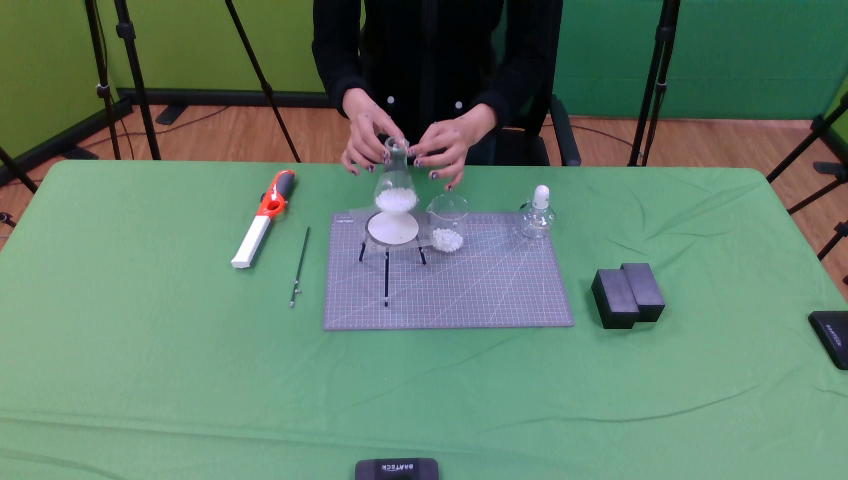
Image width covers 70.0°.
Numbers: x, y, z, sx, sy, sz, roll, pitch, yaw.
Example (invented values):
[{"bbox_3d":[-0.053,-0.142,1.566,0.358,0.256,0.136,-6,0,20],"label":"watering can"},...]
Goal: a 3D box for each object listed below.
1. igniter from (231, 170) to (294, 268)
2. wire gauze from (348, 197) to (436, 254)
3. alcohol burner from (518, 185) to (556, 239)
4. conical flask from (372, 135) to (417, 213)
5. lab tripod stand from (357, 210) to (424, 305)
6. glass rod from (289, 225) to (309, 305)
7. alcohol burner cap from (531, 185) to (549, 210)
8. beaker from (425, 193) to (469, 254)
[{"bbox_3d":[-0.321,-0.051,1.220,0.057,0.025,0.275,2,45,11],"label":"igniter"},{"bbox_3d":[-0.056,-0.026,1.045,0.125,0.011,0.120,-12,46,-16],"label":"wire gauze"},{"bbox_3d":[0.227,-0.061,1.209,0.078,0.120,0.077,1,44,-1],"label":"alcohol burner"},{"bbox_3d":[-0.047,-0.109,0.977,0.075,0.122,0.075,3,42,-2],"label":"conical flask"},{"bbox_3d":[-0.060,0.020,1.094,0.148,0.132,0.147,3,44,-2],"label":"lab tripod stand"},{"bbox_3d":[-0.236,0.042,1.149,0.008,0.008,0.198,3,46,-1],"label":"glass rod"},{"bbox_3d":[0.228,-0.085,1.183,0.034,0.048,0.033,-1,48,2],"label":"alcohol burner cap"},{"bbox_3d":[0.042,-0.029,1.174,0.084,0.101,0.073,-5,46,-8],"label":"beaker"}]
